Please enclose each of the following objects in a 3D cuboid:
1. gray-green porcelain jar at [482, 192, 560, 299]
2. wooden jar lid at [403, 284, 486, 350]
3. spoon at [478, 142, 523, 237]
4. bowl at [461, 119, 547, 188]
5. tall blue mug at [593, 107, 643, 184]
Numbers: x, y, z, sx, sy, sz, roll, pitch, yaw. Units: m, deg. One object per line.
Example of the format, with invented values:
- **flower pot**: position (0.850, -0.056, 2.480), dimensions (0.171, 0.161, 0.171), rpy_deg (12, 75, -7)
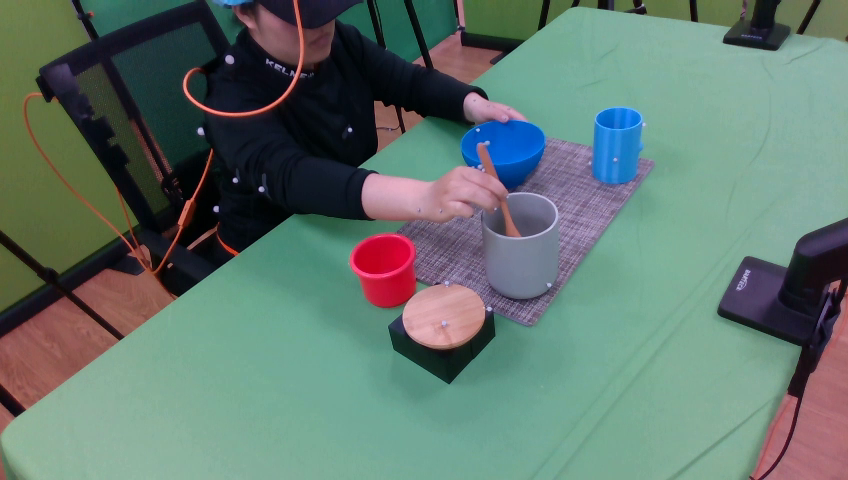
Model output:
- **gray-green porcelain jar**: position (0.139, 0.012, 0.858), dimensions (0.106, 0.127, 0.105), rpy_deg (-6, 40, 5)
- **wooden jar lid**: position (0.027, 0.101, 0.786), dimensions (0.108, 0.021, 0.108), rpy_deg (-5, 39, 5)
- **spoon**: position (0.107, -0.041, 0.803), dimensions (0.041, 0.194, 0.022), rpy_deg (-11, 21, 32)
- **bowl**: position (0.144, -0.146, 1.082), dimensions (0.151, 0.077, 0.150), rpy_deg (-6, 40, 5)
- **tall blue mug**: position (0.330, -0.172, 1.052), dimensions (0.078, 0.108, 0.106), rpy_deg (-12, 40, 0)
